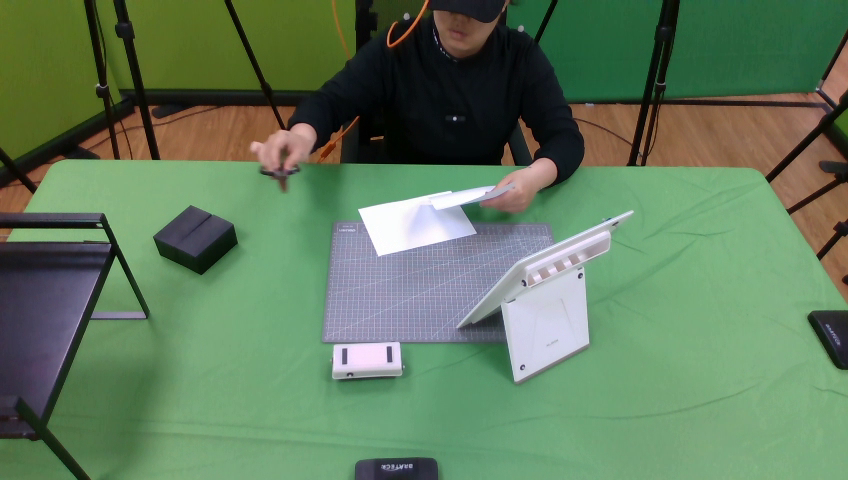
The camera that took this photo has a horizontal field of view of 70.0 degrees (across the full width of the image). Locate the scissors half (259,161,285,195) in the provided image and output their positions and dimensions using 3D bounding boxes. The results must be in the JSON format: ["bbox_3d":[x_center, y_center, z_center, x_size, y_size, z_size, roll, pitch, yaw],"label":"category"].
[{"bbox_3d":[-0.267,-0.110,1.079,0.040,0.013,0.174,-10,27,-18],"label":"scissors half"}]

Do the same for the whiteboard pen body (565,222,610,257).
[{"bbox_3d":[0.335,-0.004,1.229,0.141,0.017,0.017,-33,56,-29],"label":"whiteboard pen body"}]

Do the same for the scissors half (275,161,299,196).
[{"bbox_3d":[-0.248,-0.111,1.083,0.040,0.013,0.174,2,25,-7],"label":"scissors half"}]

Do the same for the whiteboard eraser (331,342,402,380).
[{"bbox_3d":[-0.094,0.198,0.986,0.113,0.042,0.055,-2,44,-6],"label":"whiteboard eraser"}]

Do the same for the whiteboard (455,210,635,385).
[{"bbox_3d":[0.211,0.111,0.955,0.217,0.306,0.143,-21,71,-23],"label":"whiteboard"}]

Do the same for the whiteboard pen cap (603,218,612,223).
[{"bbox_3d":[0.378,-0.031,1.255,0.033,0.018,0.018,-34,57,-30],"label":"whiteboard pen cap"}]
